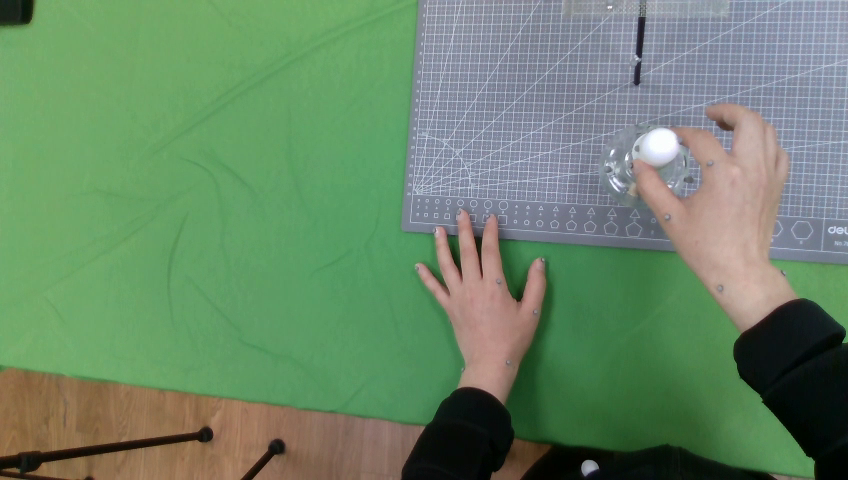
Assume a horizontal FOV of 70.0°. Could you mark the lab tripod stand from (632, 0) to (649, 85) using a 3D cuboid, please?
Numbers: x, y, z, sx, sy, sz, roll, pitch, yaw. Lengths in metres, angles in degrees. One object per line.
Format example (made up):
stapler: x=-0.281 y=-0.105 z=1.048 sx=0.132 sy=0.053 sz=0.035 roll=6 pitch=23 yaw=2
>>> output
lab tripod stand: x=0.187 y=-0.226 z=0.533 sx=0.148 sy=0.132 sz=0.148 roll=0 pitch=89 yaw=12

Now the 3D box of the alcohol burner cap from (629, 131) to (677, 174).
alcohol burner cap: x=0.183 y=-0.072 z=0.481 sx=0.034 sy=0.048 sz=0.034 roll=0 pitch=89 yaw=10

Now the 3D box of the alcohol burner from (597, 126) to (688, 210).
alcohol burner: x=0.195 y=-0.066 z=0.536 sx=0.078 sy=0.119 sz=0.078 roll=0 pitch=87 yaw=12

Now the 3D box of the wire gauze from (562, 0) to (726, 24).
wire gauze: x=0.172 y=-0.230 z=0.469 sx=0.125 sy=0.011 sz=0.121 roll=4 pitch=93 yaw=11
